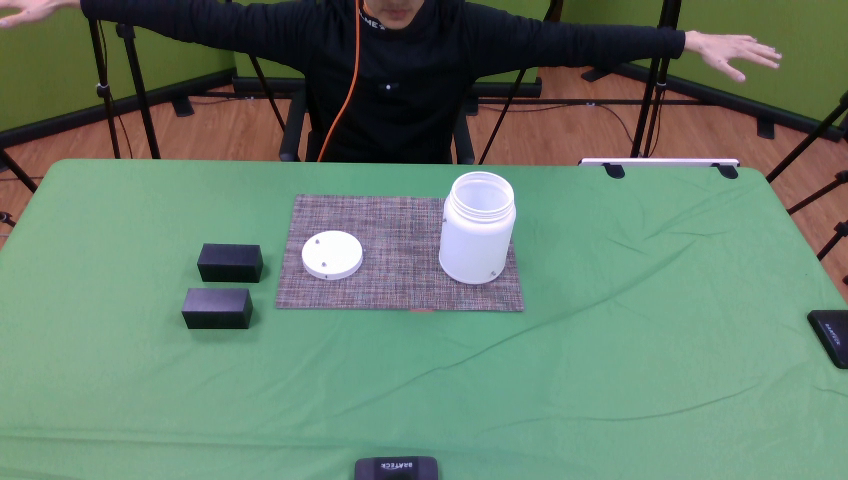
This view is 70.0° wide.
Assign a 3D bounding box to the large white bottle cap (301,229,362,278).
[{"bbox_3d":[-0.176,0.025,1.157,0.115,0.018,0.114,2,46,-2],"label":"large white bottle cap"}]

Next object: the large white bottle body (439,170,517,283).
[{"bbox_3d":[0.097,-0.024,1.108,0.131,0.185,0.130,2,47,-2],"label":"large white bottle body"}]
